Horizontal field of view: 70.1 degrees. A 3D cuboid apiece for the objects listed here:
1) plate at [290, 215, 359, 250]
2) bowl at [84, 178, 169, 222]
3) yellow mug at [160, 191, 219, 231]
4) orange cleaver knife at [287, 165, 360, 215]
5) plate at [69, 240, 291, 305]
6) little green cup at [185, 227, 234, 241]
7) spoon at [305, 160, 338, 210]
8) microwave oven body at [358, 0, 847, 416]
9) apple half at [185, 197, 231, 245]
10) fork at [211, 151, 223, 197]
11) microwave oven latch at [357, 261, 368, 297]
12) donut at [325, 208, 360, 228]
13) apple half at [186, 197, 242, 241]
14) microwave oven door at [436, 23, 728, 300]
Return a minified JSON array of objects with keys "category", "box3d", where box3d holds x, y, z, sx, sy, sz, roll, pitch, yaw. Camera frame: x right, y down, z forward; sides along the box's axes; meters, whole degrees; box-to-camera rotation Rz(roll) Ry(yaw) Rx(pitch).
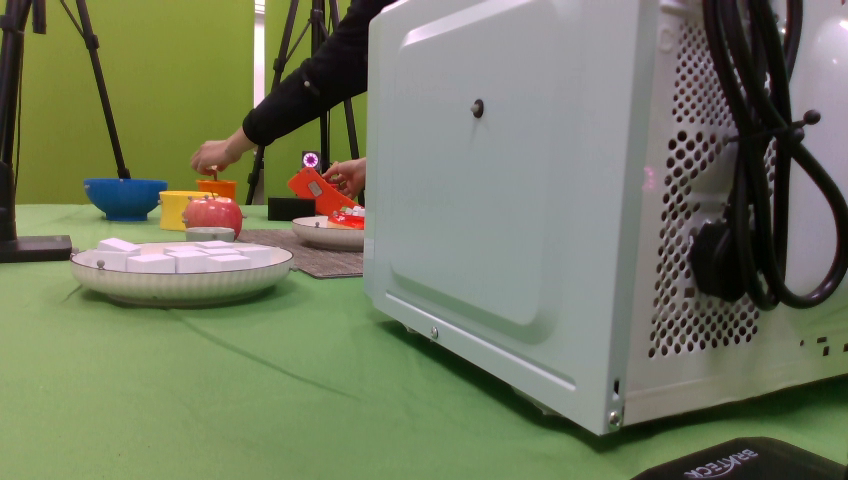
[{"category":"plate","box3d":[-0.110,-0.014,0.973,0.209,0.038,0.209,2,7,0]},{"category":"bowl","box3d":[-0.584,-0.078,1.194,0.151,0.077,0.151,3,8,0]},{"category":"yellow mug","box3d":[-0.416,-0.053,1.104,0.130,0.064,0.100,7,9,26]},{"category":"orange cleaver knife","box3d":[-0.211,-0.092,1.382,0.212,0.077,0.012,34,2,-15]},{"category":"plate","box3d":[-0.242,0.031,0.618,0.208,0.039,0.207,2,7,0]},{"category":"little green cup","box3d":[-0.285,0.005,0.805,0.061,0.038,0.061,2,8,0]},{"category":"spoon","box3d":[-0.260,-0.146,1.568,0.041,0.022,0.193,2,51,22]},{"category":"microwave oven body","box3d":[0.211,-0.047,0.474,0.444,0.260,0.324,-1,7,-28]},{"category":"apple half","box3d":[-0.337,-0.031,0.928,0.032,0.081,0.082,13,12,37]},{"category":"fork","box3d":[-0.496,-0.144,1.441,0.028,0.018,0.206,-4,52,-20]},{"category":"microwave oven latch","box3d":[-0.019,0.033,0.531,0.079,0.029,0.030,-1,7,-27]},{"category":"donut","box3d":[-0.110,-0.025,0.974,0.099,0.048,0.099,5,8,0]},{"category":"apple half","box3d":[-0.307,-0.026,0.905,0.053,0.074,0.081,14,9,37]},{"category":"microwave oven door","box3d":[0.180,-0.073,0.621,0.358,0.243,0.039,-2,9,-29]}]
